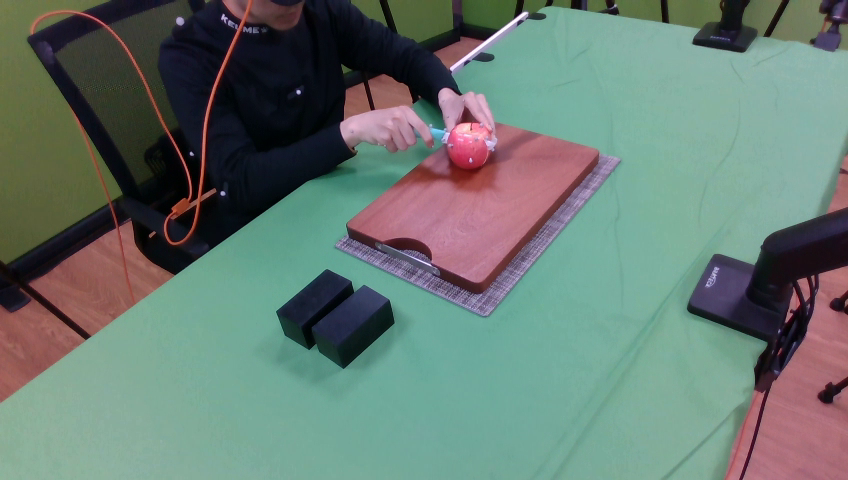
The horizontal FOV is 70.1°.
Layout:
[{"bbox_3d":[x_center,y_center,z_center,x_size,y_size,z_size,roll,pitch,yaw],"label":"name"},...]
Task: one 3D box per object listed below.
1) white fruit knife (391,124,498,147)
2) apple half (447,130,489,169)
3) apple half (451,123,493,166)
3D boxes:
[{"bbox_3d":[0.032,-0.184,1.065,0.206,0.027,0.016,12,42,22],"label":"white fruit knife"},{"bbox_3d":[0.071,-0.150,1.049,0.081,0.081,0.033,13,43,22],"label":"apple half"},{"bbox_3d":[0.087,-0.174,1.075,0.080,0.075,0.053,8,39,24],"label":"apple half"}]
